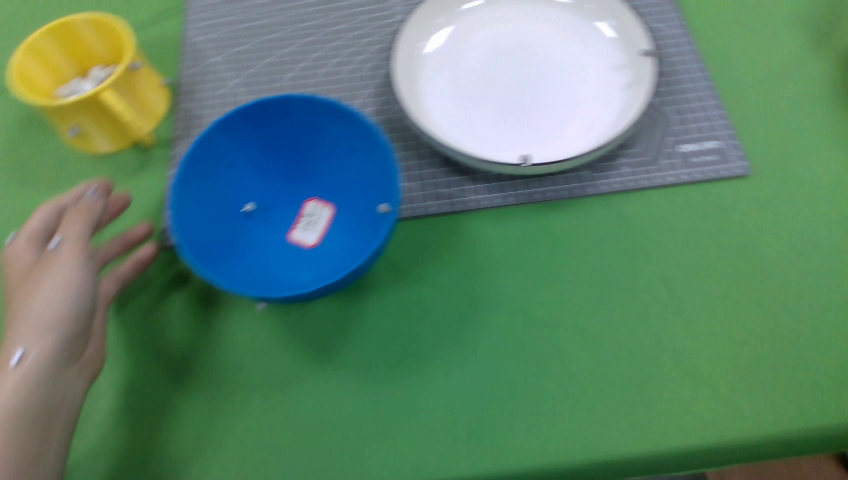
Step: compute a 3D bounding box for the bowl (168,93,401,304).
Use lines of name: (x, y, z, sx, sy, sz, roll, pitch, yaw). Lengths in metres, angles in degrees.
bowl: (-0.086, -0.018, 0.421, 0.151, 0.077, 0.150, -1, 66, 3)

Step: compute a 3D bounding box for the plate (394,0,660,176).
plate: (0.080, -0.134, 0.490, 0.209, 0.038, 0.207, -2, 62, 4)

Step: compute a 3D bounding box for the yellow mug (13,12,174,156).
yellow mug: (-0.262, -0.121, 0.501, 0.130, 0.064, 0.100, 40, 72, 22)
